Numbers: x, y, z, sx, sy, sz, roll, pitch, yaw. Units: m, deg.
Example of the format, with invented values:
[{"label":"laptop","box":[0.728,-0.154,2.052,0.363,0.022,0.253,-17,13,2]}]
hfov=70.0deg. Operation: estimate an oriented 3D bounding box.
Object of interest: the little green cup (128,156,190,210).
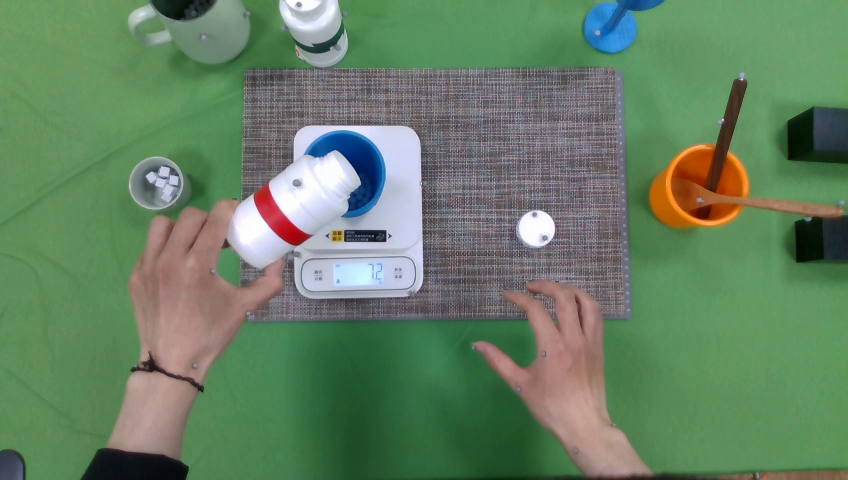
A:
[{"label":"little green cup","box":[-0.302,-0.063,0.700,0.061,0.038,0.061,0,84,-2]}]

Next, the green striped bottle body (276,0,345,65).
[{"label":"green striped bottle body","box":[-0.127,-0.249,0.681,0.063,0.119,0.063,0,83,0]}]

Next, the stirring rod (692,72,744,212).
[{"label":"stirring rod","box":[0.317,-0.100,0.659,0.014,0.178,0.006,6,43,13]}]

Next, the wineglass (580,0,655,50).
[{"label":"wineglass","box":[0.224,-0.275,0.662,0.074,0.172,0.073,0,84,0]}]

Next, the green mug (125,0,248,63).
[{"label":"green mug","box":[-0.272,-0.254,0.687,0.125,0.105,0.092,-23,85,-3]}]

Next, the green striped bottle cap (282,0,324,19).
[{"label":"green striped bottle cap","box":[-0.127,-0.255,0.629,0.044,0.020,0.044,0,83,-1]}]

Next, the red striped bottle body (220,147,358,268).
[{"label":"red striped bottle body","box":[-0.117,-0.032,0.543,0.119,0.063,0.063,-36,85,11]}]

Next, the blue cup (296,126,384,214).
[{"label":"blue cup","box":[-0.083,-0.065,0.639,0.093,0.100,0.092,0,86,-3]}]

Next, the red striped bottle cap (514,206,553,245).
[{"label":"red striped bottle cap","box":[0.129,-0.017,0.710,0.044,0.018,0.044,1,82,-5]}]

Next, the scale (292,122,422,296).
[{"label":"scale","box":[-0.078,-0.037,0.701,0.149,0.031,0.200,-1,85,-1]}]

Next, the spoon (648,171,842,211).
[{"label":"spoon","box":[0.337,-0.048,0.654,0.022,0.192,0.041,12,91,-43]}]
